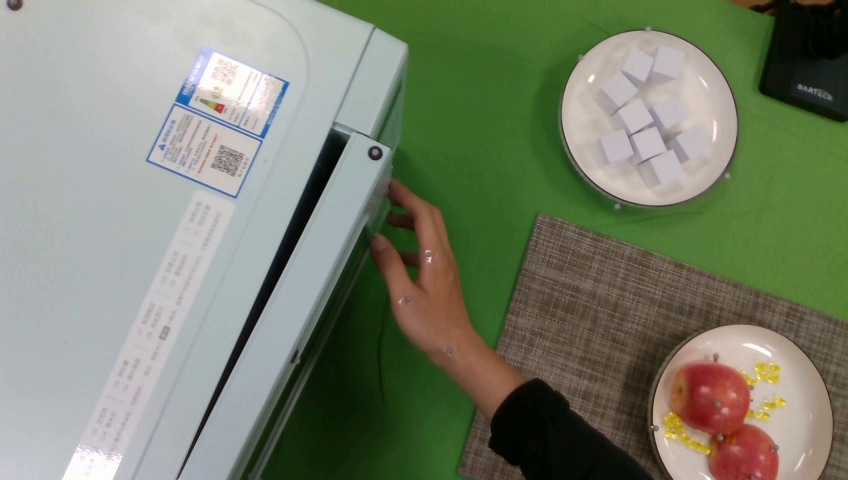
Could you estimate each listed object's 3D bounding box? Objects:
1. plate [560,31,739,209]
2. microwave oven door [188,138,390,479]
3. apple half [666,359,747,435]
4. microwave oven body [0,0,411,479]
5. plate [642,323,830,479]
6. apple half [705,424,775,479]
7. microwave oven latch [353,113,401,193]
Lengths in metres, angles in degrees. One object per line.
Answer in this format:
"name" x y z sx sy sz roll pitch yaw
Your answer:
"plate" 0.256 -0.136 0.702 0.208 0.039 0.207 1 84 -4
"microwave oven door" -0.121 0.100 0.525 0.039 0.244 0.355 26 82 0
"apple half" 0.309 0.169 0.653 0.075 0.053 0.080 17 83 0
"microwave oven body" -0.248 0.002 0.530 0.326 0.260 0.440 23 83 -2
"plate" 0.338 0.195 0.669 0.209 0.038 0.208 1 84 -4
"apple half" 0.348 0.240 0.658 0.081 0.033 0.081 1 80 -5
"microwave oven latch" -0.051 -0.092 0.653 0.030 0.029 0.079 25 83 -2
